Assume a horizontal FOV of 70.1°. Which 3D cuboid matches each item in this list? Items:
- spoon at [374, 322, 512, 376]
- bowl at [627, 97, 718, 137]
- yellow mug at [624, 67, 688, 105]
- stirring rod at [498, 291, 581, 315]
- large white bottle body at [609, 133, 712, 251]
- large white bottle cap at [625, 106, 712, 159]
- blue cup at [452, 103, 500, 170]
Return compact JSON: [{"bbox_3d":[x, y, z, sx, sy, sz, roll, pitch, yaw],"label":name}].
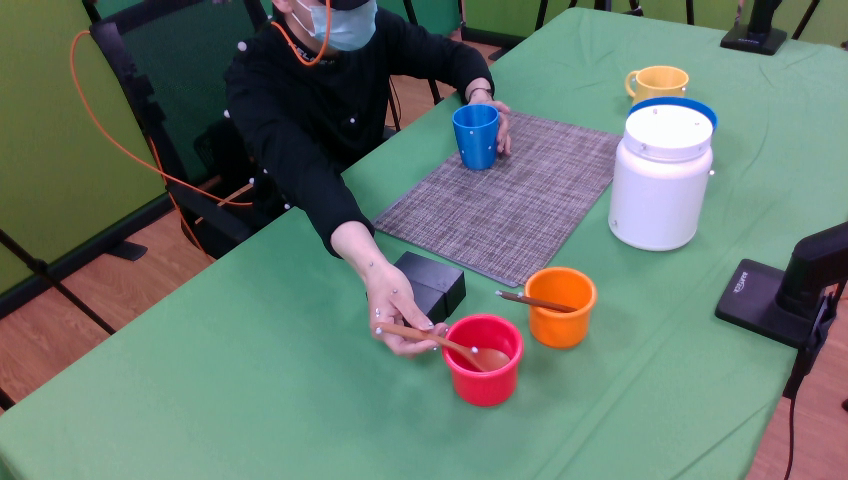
[{"bbox_3d":[0.027,0.126,0.723,0.195,0.021,0.041,25,38,-28],"label":"spoon"},{"bbox_3d":[0.439,-0.187,1.087,0.151,0.077,0.150,-4,41,4],"label":"bowl"},{"bbox_3d":[0.465,-0.305,1.230,0.100,0.064,0.129,-34,46,-27],"label":"yellow mug"},{"bbox_3d":[0.151,0.081,0.772,0.178,0.006,0.014,16,19,-44],"label":"stirring rod"},{"bbox_3d":[0.351,-0.089,0.904,0.130,0.185,0.130,-5,41,4],"label":"large white bottle body"},{"bbox_3d":[0.342,-0.153,0.848,0.115,0.018,0.114,-4,41,4],"label":"large white bottle cap"},{"bbox_3d":[0.099,-0.187,1.114,0.092,0.101,0.092,-5,41,5],"label":"blue cup"}]
